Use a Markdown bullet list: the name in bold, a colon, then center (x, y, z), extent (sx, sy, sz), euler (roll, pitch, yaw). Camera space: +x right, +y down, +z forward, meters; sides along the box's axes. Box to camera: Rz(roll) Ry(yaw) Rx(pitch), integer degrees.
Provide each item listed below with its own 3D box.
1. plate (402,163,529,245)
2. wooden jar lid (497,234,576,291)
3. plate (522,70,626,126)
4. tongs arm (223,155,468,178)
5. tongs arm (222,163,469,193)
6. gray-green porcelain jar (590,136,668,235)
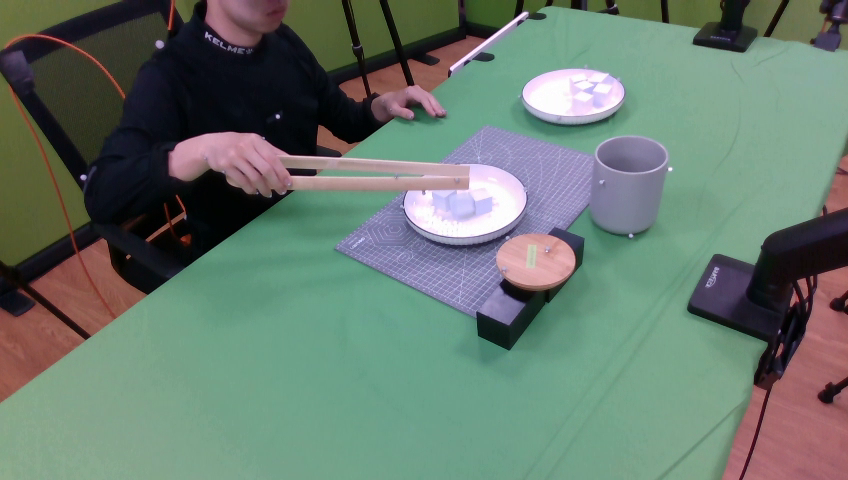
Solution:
- **plate**: center (0.069, -0.056, 1.008), extent (0.209, 0.038, 0.208), euler (-4, 40, 4)
- **wooden jar lid**: center (0.155, 0.032, 0.834), extent (0.108, 0.021, 0.108), euler (-5, 40, 5)
- **plate**: center (0.308, -0.290, 1.251), extent (0.207, 0.039, 0.206), euler (-4, 40, 4)
- **tongs arm**: center (-0.122, -0.114, 0.968), extent (0.388, 0.028, 0.028), euler (2, 47, -1)
- **tongs arm**: center (-0.123, -0.099, 0.951), extent (0.385, 0.026, 0.050), euler (-1, 44, -4)
- **gray-green porcelain jar**: center (0.314, -0.080, 0.937), extent (0.106, 0.127, 0.105), euler (-4, 41, 4)
